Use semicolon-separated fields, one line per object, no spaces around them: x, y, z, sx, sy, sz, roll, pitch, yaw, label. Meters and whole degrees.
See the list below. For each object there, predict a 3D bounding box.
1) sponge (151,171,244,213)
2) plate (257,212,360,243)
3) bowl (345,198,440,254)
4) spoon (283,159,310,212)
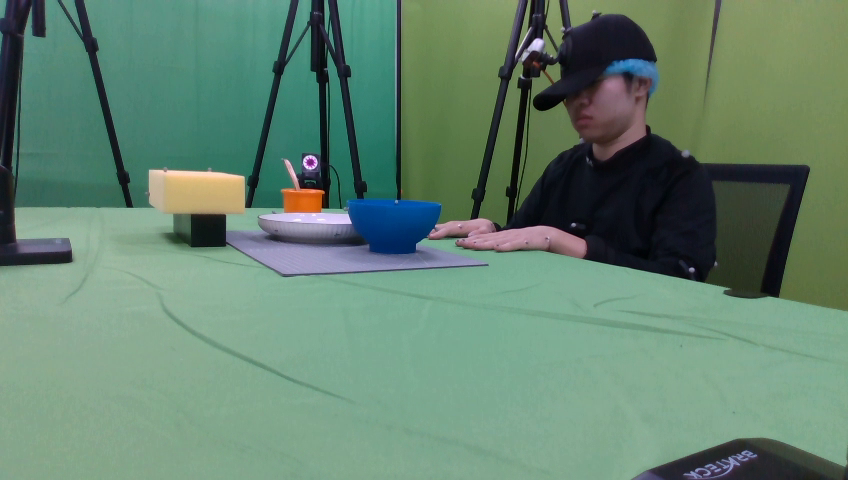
-0.383;-0.082;1.010;0.119;0.061;0.206;-1;7;-30;sponge
-0.189;-0.023;1.072;0.209;0.038;0.209;3;7;0;plate
-0.051;-0.022;0.952;0.151;0.077;0.151;3;7;0;bowl
-0.279;-0.110;1.324;0.042;0.193;0.021;3;-39;-35;spoon
